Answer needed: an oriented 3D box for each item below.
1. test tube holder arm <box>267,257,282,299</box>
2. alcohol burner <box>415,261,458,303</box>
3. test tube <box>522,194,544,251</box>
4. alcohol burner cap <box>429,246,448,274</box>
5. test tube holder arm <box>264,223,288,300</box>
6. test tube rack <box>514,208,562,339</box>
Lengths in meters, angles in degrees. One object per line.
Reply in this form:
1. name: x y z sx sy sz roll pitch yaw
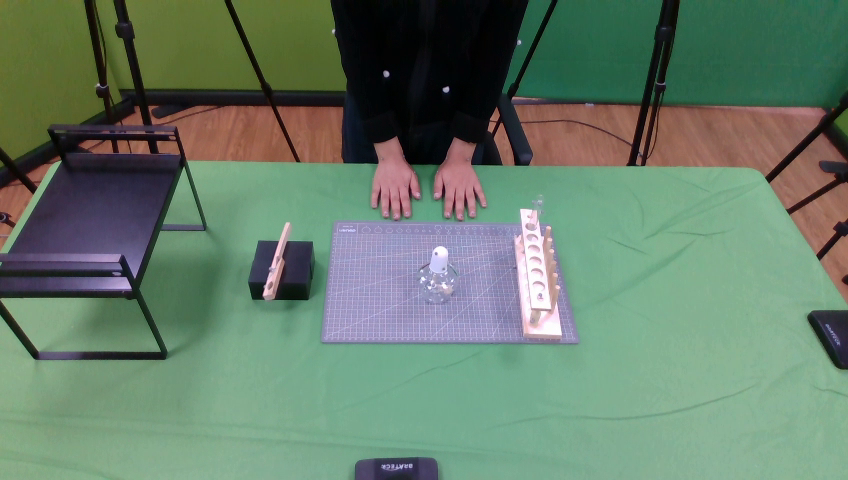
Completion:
1. test tube holder arm: -0.258 0.066 1.050 0.010 0.015 0.087 -2 45 2
2. alcohol burner: 0.024 0.057 1.078 0.078 0.119 0.077 3 44 -3
3. test tube: 0.201 -0.029 1.125 0.017 0.151 0.017 2 50 -2
4. alcohol burner cap: 0.027 0.032 1.053 0.034 0.048 0.033 4 40 -3
5. test tube holder arm: -0.264 0.034 1.082 0.013 0.015 0.177 -3 45 2
6. test tube rack: 0.212 0.056 1.113 0.067 0.085 0.241 3 46 -1
